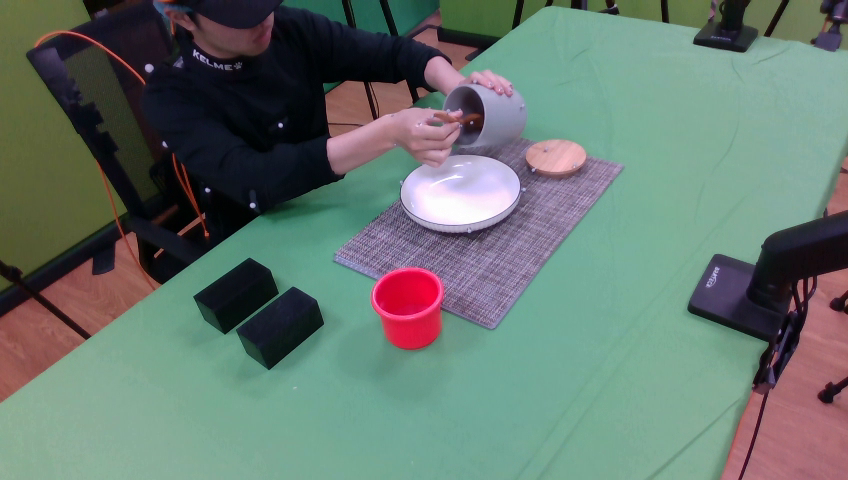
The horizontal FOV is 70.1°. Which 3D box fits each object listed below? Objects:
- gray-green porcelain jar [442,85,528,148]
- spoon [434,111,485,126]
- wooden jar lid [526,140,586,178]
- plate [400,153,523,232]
[{"bbox_3d":[0.111,-0.219,1.064,0.127,0.106,0.105,-13,35,-42],"label":"gray-green porcelain jar"},{"bbox_3d":[0.062,-0.201,1.006,0.041,0.021,0.194,-6,7,25],"label":"spoon"},{"bbox_3d":[0.240,-0.147,1.103,0.108,0.021,0.108,-4,42,4],"label":"wooden jar lid"},{"bbox_3d":[0.064,-0.078,1.034,0.207,0.039,0.206,-4,41,4],"label":"plate"}]
